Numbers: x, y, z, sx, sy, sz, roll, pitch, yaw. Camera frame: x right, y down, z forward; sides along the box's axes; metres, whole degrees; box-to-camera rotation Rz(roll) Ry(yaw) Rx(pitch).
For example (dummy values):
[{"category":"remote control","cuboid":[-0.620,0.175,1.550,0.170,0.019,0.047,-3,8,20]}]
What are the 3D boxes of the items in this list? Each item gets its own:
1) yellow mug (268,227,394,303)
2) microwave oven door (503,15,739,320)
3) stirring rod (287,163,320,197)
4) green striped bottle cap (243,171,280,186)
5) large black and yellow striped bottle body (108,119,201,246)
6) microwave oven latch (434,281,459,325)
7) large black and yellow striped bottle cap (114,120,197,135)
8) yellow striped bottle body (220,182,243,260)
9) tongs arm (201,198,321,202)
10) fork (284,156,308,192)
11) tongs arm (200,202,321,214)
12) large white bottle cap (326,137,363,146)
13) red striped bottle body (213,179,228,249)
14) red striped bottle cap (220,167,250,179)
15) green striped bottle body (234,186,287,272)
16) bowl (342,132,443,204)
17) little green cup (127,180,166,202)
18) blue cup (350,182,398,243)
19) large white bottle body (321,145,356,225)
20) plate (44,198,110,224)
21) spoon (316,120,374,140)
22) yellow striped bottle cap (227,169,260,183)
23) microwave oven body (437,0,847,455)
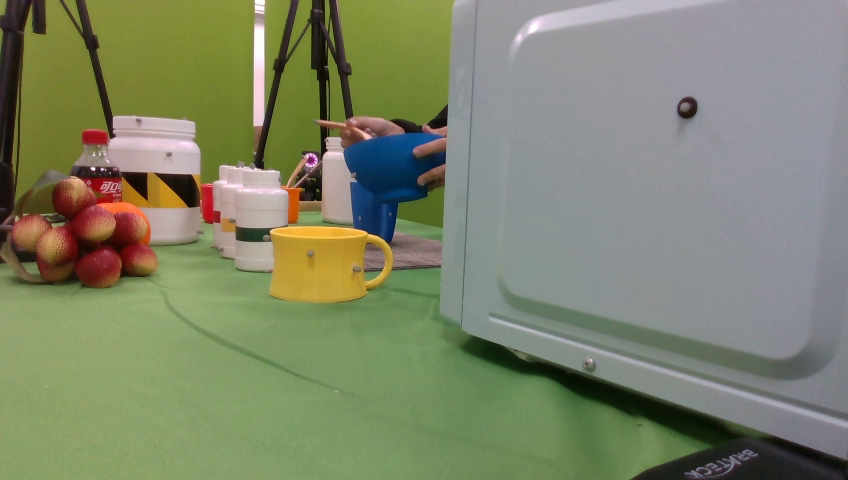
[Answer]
[{"category":"yellow mug","cuboid":[-0.094,0.023,0.629,0.131,0.064,0.099,0,7,-21]},{"category":"microwave oven door","cuboid":[0.218,-0.065,0.600,0.358,0.243,0.039,-4,10,-41]},{"category":"stirring rod","cuboid":[-0.283,-0.107,1.298,0.014,0.006,0.176,10,53,50]},{"category":"green striped bottle cap","cuboid":[-0.198,-0.074,0.736,0.044,0.020,0.044,1,7,0]},{"category":"large black and yellow striped bottle body","cuboid":[-0.412,-0.088,0.930,0.131,0.184,0.130,3,7,0]},{"category":"microwave oven latch","cuboid":[0.044,0.045,0.470,0.079,0.029,0.030,-2,8,-39]},{"category":"large black and yellow striped bottle cap","cuboid":[-0.407,-0.171,0.920,0.115,0.019,0.115,2,9,0]},{"category":"yellow striped bottle body","cuboid":[-0.245,-0.036,0.825,0.063,0.120,0.063,3,8,0]},{"category":"tongs arm","cuboid":[-0.433,-0.090,1.508,0.390,0.028,0.028,-1,2,-29]},{"category":"fork","cuboid":[-0.295,-0.116,1.323,0.028,0.019,0.207,1,50,21]},{"category":"tongs arm","cuboid":[-0.378,-0.079,1.440,0.387,0.026,0.050,-4,8,-44]},{"category":"large white bottle cap","cuboid":[-0.158,-0.214,1.329,0.115,0.018,0.115,2,7,0]},{"category":"red striped bottle body","cuboid":[-0.284,-0.048,0.909,0.063,0.119,0.063,3,12,0]},{"category":"red striped bottle cap","cuboid":[-0.281,-0.100,0.901,0.044,0.017,0.044,-1,5,0]},{"category":"green striped bottle body","cuboid":[-0.201,-0.023,0.743,0.063,0.119,0.063,2,7,0]},{"category":"bowl","cuboid":[-0.037,-0.096,0.857,0.151,0.076,0.151,-8,-3,0]},{"category":"little green cup","cuboid":[-0.486,-0.086,1.061,0.061,0.038,0.061,1,7,0]},{"category":"blue cup","cuboid":[-0.083,-0.046,1.013,0.093,0.100,0.092,2,7,0]},{"category":"large white bottle body","cuboid":[-0.162,-0.131,1.341,0.131,0.184,0.130,2,8,0]},{"category":"plate","cuboid":[-0.617,-0.056,1.179,0.209,0.038,0.209,3,7,0]},{"category":"spoon","cuboid":[-0.111,-0.170,0.954,0.042,0.021,0.192,-9,27,-44]},{"category":"yellow striped bottle cap","cuboid":[-0.243,-0.086,0.818,0.044,0.018,0.044,3,6,0]},{"category":"microwave oven body","cuboid":[0.279,-0.040,0.465,0.444,0.260,0.324,-3,9,-41]}]
